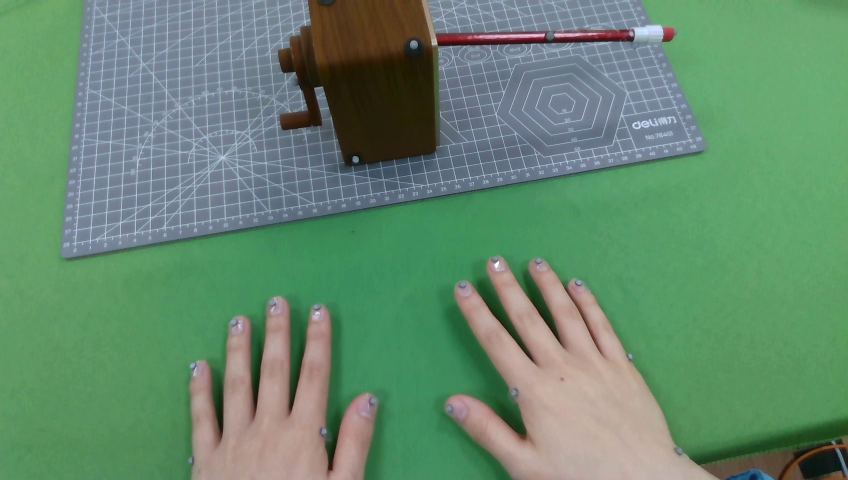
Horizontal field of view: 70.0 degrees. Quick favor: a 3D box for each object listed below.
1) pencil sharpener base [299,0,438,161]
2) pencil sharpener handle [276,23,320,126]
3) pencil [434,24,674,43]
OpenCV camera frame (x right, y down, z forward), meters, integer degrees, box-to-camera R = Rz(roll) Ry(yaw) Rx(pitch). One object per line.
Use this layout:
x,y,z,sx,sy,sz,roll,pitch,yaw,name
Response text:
-0.034,-0.107,0.394,0.077,0.108,0.061,-10,65,-3,pencil sharpener base
-0.084,-0.100,0.378,0.031,0.068,0.035,-10,50,-3,pencil sharpener handle
0.067,-0.130,0.383,0.194,0.012,0.012,-4,64,-9,pencil
